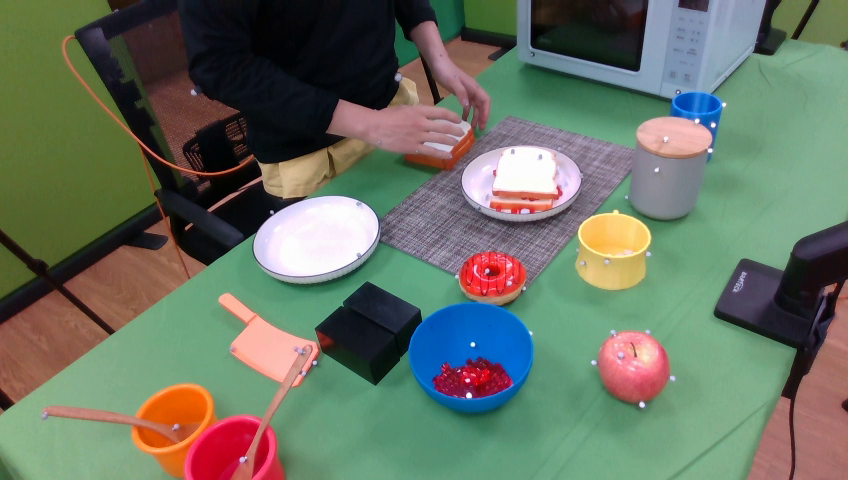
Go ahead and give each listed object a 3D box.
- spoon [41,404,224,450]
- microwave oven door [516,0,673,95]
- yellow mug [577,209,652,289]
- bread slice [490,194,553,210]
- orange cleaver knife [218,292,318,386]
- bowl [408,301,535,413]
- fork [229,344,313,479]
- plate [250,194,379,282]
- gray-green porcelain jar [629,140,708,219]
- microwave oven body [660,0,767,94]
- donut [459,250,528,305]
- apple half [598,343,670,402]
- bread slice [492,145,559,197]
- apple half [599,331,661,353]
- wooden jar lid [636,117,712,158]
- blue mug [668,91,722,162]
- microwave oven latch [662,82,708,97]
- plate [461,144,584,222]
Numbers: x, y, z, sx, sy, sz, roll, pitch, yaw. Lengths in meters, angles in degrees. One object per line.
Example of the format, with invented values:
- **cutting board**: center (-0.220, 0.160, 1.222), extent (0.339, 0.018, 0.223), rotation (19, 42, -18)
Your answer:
- **spoon**: center (-0.321, 0.206, 0.681), extent (0.195, 0.021, 0.041), rotation (27, 27, -33)
- **microwave oven door**: center (0.344, -0.458, 1.256), extent (0.353, 0.245, 0.039), rotation (26, 51, 33)
- **yellow mug**: center (0.279, 0.005, 0.893), extent (0.099, 0.064, 0.130), rotation (5, 41, 15)
- **bread slice**: center (0.173, -0.099, 1.047), extent (0.104, 0.019, 0.131), rotation (2, 43, 12)
- **orange cleaver knife**: center (-0.235, 0.136, 0.850), extent (0.209, 0.012, 0.077), rotation (25, 57, 30)
- **bowl**: center (0.060, 0.156, 0.739), extent (0.151, 0.077, 0.150), rotation (-4, 40, 4)
- **fork**: center (-0.173, 0.205, 0.662), extent (0.028, 0.019, 0.207), rotation (29, 94, 36)
- **plate**: center (-0.174, -0.001, 0.984), extent (0.209, 0.038, 0.208), rotation (-4, 40, 3)
- **gray-green porcelain jar**: center (0.383, -0.105, 0.958), extent (0.106, 0.127, 0.105), rotation (-4, 41, 4)
- **microwave oven body**: center (0.473, -0.516, 1.313), extent (0.438, 0.261, 0.327), rotation (26, 51, 34)
- **donut**: center (0.100, 0.053, 0.873), extent (0.099, 0.048, 0.098), rotation (-5, 40, 4)
- **apple half**: center (0.247, 0.161, 0.710), extent (0.081, 0.075, 0.053), rotation (2, 47, 5)
- **bread slice**: center (0.172, -0.119, 1.027), extent (0.107, 0.018, 0.134), rotation (3, 42, 7)
- **apple half**: center (0.249, 0.134, 0.738), extent (0.081, 0.081, 0.032), rotation (-1, 46, 7)
- **wooden jar lid**: center (0.377, -0.151, 0.917), extent (0.108, 0.021, 0.108), rotation (-2, 42, 2)
- **blue mug**: center (0.474, -0.207, 1.078), extent (0.082, 0.106, 0.116), rotation (4, 42, 13)
- **microwave oven latch**: center (0.518, -0.298, 1.202), extent (0.078, 0.029, 0.030), rotation (28, 53, 35)
- **plate**: center (0.167, -0.095, 1.040), extent (0.207, 0.039, 0.206), rotation (-4, 41, 4)
